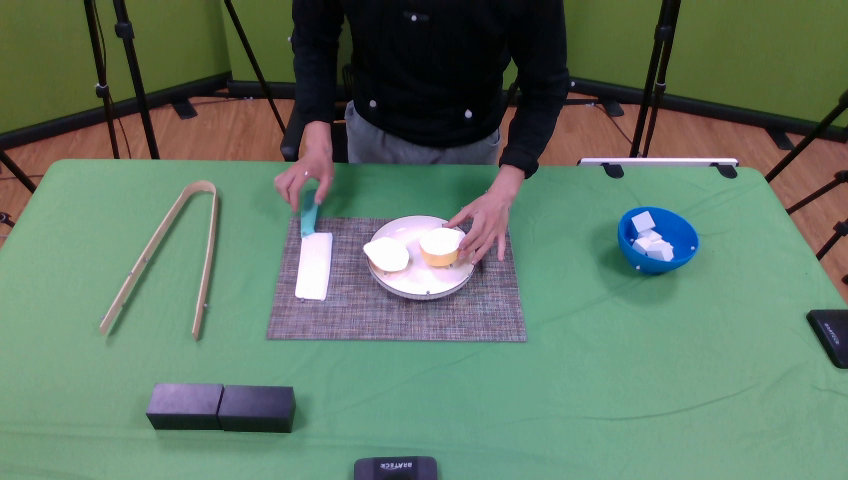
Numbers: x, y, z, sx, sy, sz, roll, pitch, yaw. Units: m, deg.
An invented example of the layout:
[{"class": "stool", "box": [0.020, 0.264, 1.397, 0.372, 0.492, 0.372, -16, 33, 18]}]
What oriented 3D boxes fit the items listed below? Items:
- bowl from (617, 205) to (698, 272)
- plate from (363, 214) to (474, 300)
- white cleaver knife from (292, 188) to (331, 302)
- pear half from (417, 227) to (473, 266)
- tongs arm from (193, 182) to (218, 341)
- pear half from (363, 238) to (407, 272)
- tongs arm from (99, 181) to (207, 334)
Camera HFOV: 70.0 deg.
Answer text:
[{"class": "bowl", "box": [0.442, 0.010, 1.181, 0.151, 0.077, 0.150, 2, 46, -2]}, {"class": "plate", "box": [-0.010, 0.036, 1.146, 0.208, 0.039, 0.206, 2, 46, -2]}, {"class": "white cleaver knife", "box": [-0.215, 0.006, 1.178, 0.066, 0.021, 0.284, 4, 49, -11]}, {"class": "pear half", "box": [0.045, 0.011, 1.145, 0.110, 0.056, 0.076, -19, 54, -14]}, {"class": "tongs arm", "box": [-0.413, 0.025, 1.140, 0.028, 0.028, 0.385, -5, 47, -7]}, {"class": "pear half", "box": [-0.077, 0.032, 1.137, 0.088, 0.031, 0.070, 17, 46, -13]}, {"class": "tongs arm", "box": [-0.493, 0.018, 1.132, 0.051, 0.026, 0.382, 7, 45, 0]}]
